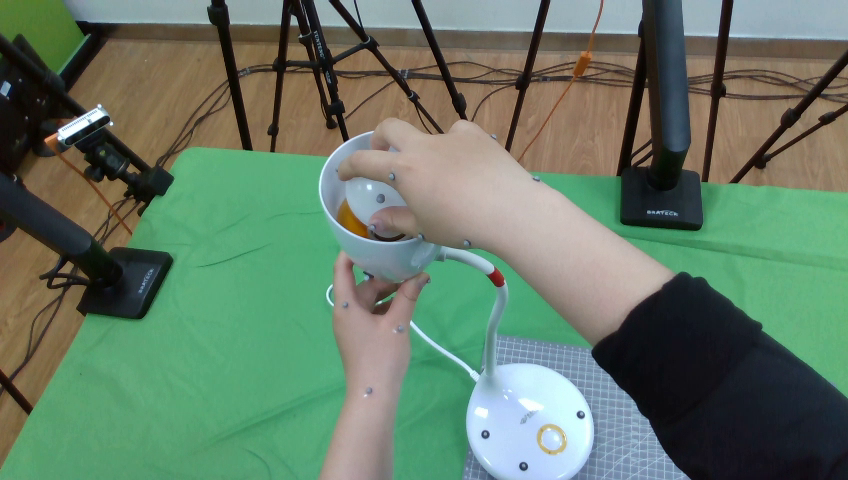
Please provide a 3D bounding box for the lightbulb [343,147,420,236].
[{"bbox_3d":[-0.031,-0.030,0.490,0.059,0.108,0.059,-2,61,5],"label":"lightbulb"}]

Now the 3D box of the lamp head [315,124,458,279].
[{"bbox_3d":[-0.025,-0.018,0.516,0.112,0.124,0.111,-2,58,4],"label":"lamp head"}]

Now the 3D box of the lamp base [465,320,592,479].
[{"bbox_3d":[0.113,0.174,0.717,0.177,0.182,0.160,29,63,28],"label":"lamp base"}]
